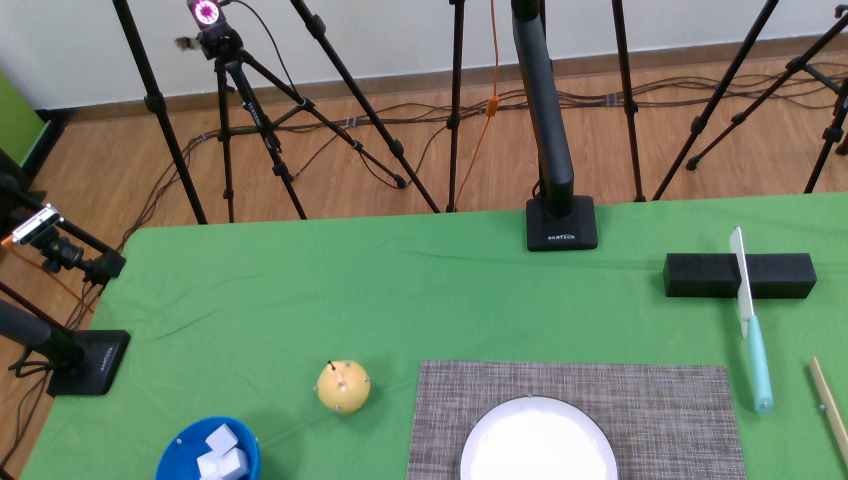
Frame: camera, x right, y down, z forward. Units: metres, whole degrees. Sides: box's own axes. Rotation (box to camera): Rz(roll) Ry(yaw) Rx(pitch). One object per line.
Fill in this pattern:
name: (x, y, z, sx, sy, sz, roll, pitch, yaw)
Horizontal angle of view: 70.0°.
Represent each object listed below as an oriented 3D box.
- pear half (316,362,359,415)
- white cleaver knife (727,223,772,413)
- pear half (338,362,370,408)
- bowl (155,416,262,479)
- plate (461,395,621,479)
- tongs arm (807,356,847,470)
pear half: (-0.137, 0.218, 0.907, 0.056, 0.111, 0.075, -23, 41, -6)
white cleaver knife: (0.471, 0.108, 0.883, 0.021, 0.066, 0.284, -2, 62, 16)
pear half: (-0.102, 0.212, 0.917, 0.031, 0.089, 0.069, -22, 42, -5)
bowl: (-0.295, 0.339, 0.869, 0.151, 0.077, 0.150, -6, 52, 8)
plate: (0.155, 0.312, 0.813, 0.207, 0.039, 0.205, -6, 52, 8)
tongs arm: (0.548, 0.318, 0.734, 0.028, 0.028, 0.383, -6, 52, 6)
